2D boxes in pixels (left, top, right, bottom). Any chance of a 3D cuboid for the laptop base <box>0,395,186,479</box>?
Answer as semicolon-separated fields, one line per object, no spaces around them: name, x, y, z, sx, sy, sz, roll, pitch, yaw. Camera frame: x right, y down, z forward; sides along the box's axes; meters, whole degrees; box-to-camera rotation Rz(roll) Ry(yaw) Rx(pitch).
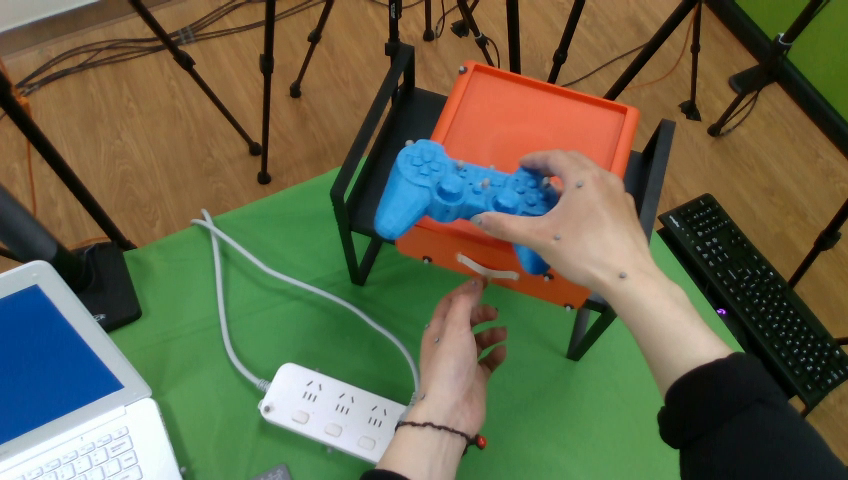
laptop base;-0.426;0.350;0.658;0.354;0.023;0.233;-25;70;-13

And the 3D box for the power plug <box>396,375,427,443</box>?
power plug;-0.005;0.201;0.707;0.035;0.053;0.072;29;65;12

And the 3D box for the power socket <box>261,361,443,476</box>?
power socket;-0.085;0.212;0.725;0.226;0.033;0.072;19;66;8

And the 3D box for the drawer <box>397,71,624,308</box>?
drawer;0.097;-0.057;0.633;0.194;0.074;0.210;18;65;7

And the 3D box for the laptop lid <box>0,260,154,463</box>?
laptop lid;-0.501;0.171;0.623;0.357;0.244;0.013;-26;43;-12

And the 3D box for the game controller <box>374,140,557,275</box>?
game controller;0.041;-0.033;0.515;0.155;0.052;0.096;14;52;-7

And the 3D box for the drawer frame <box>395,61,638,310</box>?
drawer frame;0.097;-0.062;0.634;0.201;0.083;0.212;17;65;7
